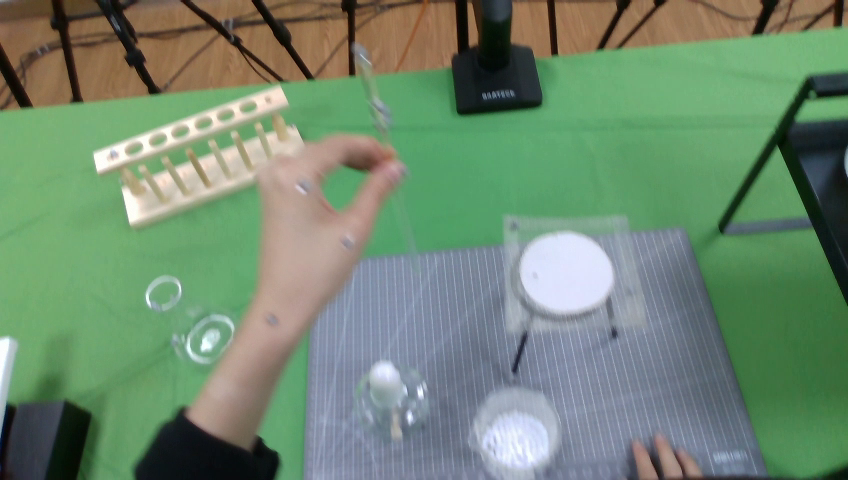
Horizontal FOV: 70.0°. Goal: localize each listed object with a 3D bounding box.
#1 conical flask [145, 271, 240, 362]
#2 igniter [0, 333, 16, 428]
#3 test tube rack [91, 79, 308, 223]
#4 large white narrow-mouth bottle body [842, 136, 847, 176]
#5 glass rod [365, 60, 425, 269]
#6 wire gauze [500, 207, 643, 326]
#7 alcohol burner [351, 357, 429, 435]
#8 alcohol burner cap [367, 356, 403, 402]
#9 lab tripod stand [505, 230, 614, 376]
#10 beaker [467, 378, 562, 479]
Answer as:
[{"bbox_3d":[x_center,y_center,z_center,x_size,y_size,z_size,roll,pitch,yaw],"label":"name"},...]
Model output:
[{"bbox_3d":[-0.251,0.076,0.646,0.075,0.123,0.074,-2,59,4],"label":"conical flask"},{"bbox_3d":[-0.430,0.219,0.578,0.057,0.025,0.273,-14,58,2],"label":"igniter"},{"bbox_3d":[-0.283,-0.115,0.782,0.242,0.086,0.066,-23,61,-9],"label":"test tube rack"},{"bbox_3d":[0.410,-0.112,0.452,0.102,0.196,0.101,-2,58,3],"label":"large white narrow-mouth bottle body"},{"bbox_3d":[-0.015,-0.036,0.400,0.008,0.202,0.008,-4,54,6],"label":"glass rod"},{"bbox_3d":[0.132,0.020,0.559,0.121,0.011,0.124,0,60,3],"label":"wire gauze"},{"bbox_3d":[-0.034,0.146,0.590,0.078,0.120,0.077,-1,58,2],"label":"alcohol burner"},{"bbox_3d":[-0.038,0.125,0.559,0.034,0.048,0.033,-1,53,1],"label":"alcohol burner cap"},{"bbox_3d":[0.130,0.059,0.615,0.148,0.132,0.147,-1,58,3],"label":"lab tripod stand"},{"bbox_3d":[0.082,0.183,0.567,0.084,0.101,0.073,-17,59,-4],"label":"beaker"}]
